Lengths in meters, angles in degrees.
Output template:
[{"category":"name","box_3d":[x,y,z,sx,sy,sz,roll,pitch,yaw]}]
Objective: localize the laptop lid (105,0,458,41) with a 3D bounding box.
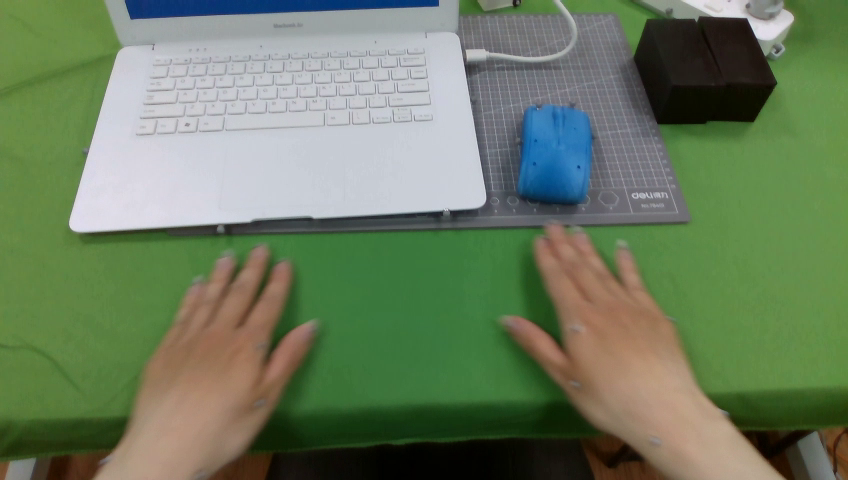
[{"category":"laptop lid","box_3d":[-0.141,-0.300,0.561,0.357,0.244,0.013,-5,43,-2]}]

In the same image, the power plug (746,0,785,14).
[{"category":"power plug","box_3d":[0.382,-0.266,0.657,0.072,0.053,0.035,-30,60,-18]}]

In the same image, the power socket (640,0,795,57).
[{"category":"power socket","box_3d":[0.310,-0.280,0.692,0.072,0.033,0.225,-38,64,-25]}]

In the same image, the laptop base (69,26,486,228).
[{"category":"laptop base","box_3d":[-0.130,-0.115,0.577,0.355,0.023,0.233,-4,59,-3]}]

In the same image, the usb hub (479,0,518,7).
[{"category":"usb hub","box_3d":[0.069,-0.327,0.722,0.049,0.025,0.124,-16,57,-12]}]

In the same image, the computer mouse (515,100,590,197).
[{"category":"computer mouse","box_3d":[0.118,-0.089,0.550,0.063,0.041,0.116,8,51,7]}]
